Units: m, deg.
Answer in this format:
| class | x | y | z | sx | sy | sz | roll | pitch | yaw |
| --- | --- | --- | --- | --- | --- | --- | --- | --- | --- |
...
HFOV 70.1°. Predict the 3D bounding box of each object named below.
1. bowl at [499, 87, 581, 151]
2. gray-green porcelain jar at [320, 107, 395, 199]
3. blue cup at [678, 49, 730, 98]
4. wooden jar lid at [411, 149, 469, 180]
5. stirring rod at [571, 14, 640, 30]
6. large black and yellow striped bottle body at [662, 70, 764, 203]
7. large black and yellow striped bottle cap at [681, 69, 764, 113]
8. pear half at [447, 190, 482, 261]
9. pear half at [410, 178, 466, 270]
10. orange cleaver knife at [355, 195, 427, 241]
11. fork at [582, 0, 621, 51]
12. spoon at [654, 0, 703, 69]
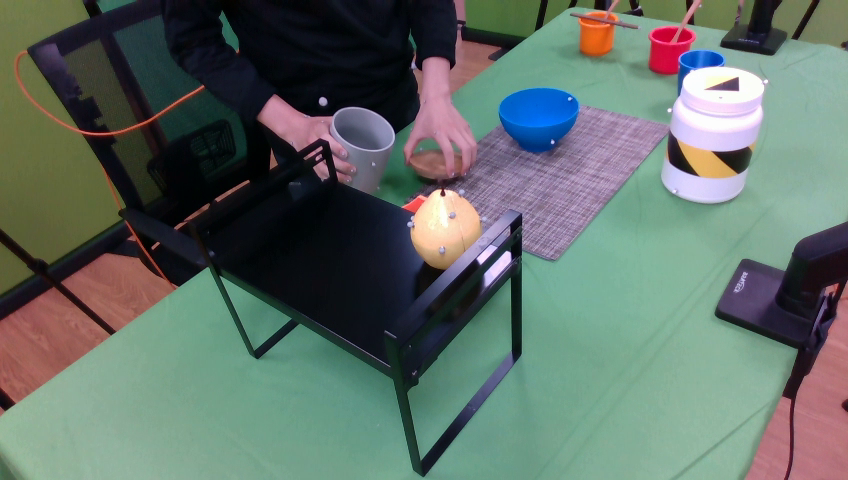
| class | x | y | z | sx | sy | sz | roll | pitch | yaw |
| --- | --- | --- | --- | --- | --- | --- | --- | --- | --- |
| bowl | 0.220 | -0.223 | 1.156 | 0.151 | 0.077 | 0.150 | -4 | 41 | 4 |
| gray-green porcelain jar | -0.115 | -0.141 | 1.014 | 0.106 | 0.126 | 0.105 | 13 | 47 | -14 |
| blue cup | 0.542 | -0.310 | 1.194 | 0.092 | 0.101 | 0.092 | -6 | 41 | 6 |
| wooden jar lid | 0.029 | -0.138 | 1.111 | 0.108 | 0.021 | 0.108 | 1 | 30 | 0 |
| stirring rod | 0.419 | -0.508 | 1.404 | 0.174 | 0.006 | 0.014 | 28 | 55 | 35 |
| large black and yellow striped bottle body | 0.464 | -0.166 | 0.976 | 0.131 | 0.185 | 0.130 | -5 | 41 | 5 |
| large black and yellow striped bottle cap | 0.453 | -0.229 | 0.921 | 0.115 | 0.019 | 0.114 | -4 | 39 | 4 |
| pear half | 0.046 | -0.020 | 0.664 | 0.031 | 0.088 | 0.070 | -17 | 38 | -9 |
| pear half | 0.011 | -0.019 | 0.654 | 0.056 | 0.110 | 0.076 | -16 | 37 | -9 |
| orange cleaver knife | -0.037 | -0.029 | 0.973 | 0.210 | 0.077 | 0.012 | -8 | 33 | 50 |
| fork | 0.446 | -0.538 | 1.438 | 0.207 | 0.019 | 0.028 | -57 | 36 | 12 |
| spoon | 0.569 | -0.462 | 1.335 | 0.041 | 0.022 | 0.193 | 34 | 99 | 37 |
